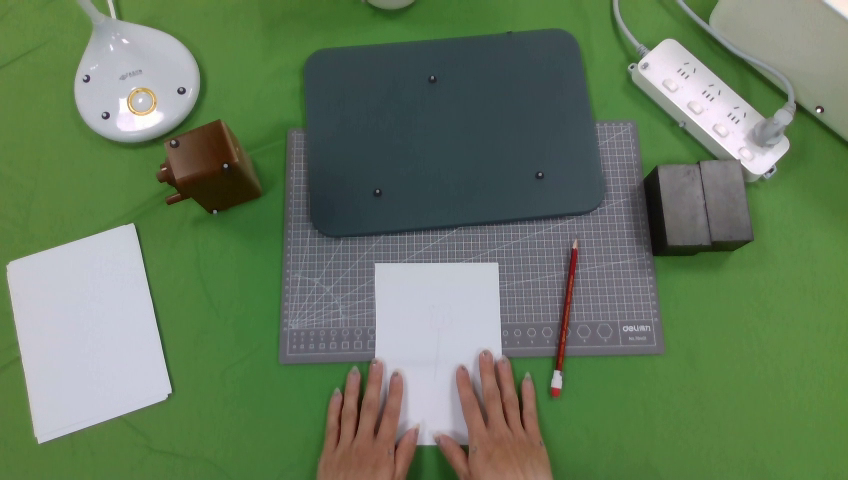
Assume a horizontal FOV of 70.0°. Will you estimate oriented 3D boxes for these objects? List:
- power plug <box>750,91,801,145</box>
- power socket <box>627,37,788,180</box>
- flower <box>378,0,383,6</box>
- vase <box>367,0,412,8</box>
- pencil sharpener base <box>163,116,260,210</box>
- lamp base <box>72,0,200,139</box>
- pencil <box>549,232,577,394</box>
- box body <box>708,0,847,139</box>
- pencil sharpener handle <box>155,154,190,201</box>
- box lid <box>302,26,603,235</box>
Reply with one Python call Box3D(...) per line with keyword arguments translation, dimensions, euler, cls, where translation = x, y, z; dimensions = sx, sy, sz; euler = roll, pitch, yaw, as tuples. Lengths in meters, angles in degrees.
Box3D(translation=(0.433, -0.142, 0.743), dimensions=(0.072, 0.053, 0.035), euler=(-30, 74, -12), cls="power plug")
Box3D(translation=(0.361, -0.169, 0.774), dimensions=(0.072, 0.033, 0.225), euler=(-41, 78, -10), cls="power socket")
Box3D(translation=(-0.037, -0.416, 0.667), dimensions=(0.044, 0.364, 0.038), euler=(-25, 64, -22), cls="flower")
Box3D(translation=(-0.046, -0.380, 0.743), dimensions=(0.098, 0.201, 0.097), euler=(0, 73, -1), cls="vase")
Box3D(translation=(-0.248, -0.086, 0.711), dimensions=(0.077, 0.107, 0.061), euler=(-22, 76, -5), cls="pencil sharpener base")
Box3D(translation=(-0.379, -0.235, 0.713), dimensions=(0.160, 0.181, 0.178), euler=(-32, 75, -8), cls="lamp base")
Box3D(translation=(0.166, 0.083, 0.715), dimensions=(0.012, 0.012, 0.193), euler=(10, 77, 3), cls="pencil")
Box3D(translation=(0.573, -0.273, 0.734), dimensions=(0.362, 0.161, 0.254), euler=(44, 79, 10), cls="box body")
Box3D(translation=(-0.294, -0.067, 0.693), dimensions=(0.030, 0.068, 0.035), euler=(-22, 63, -5), cls="pencil sharpener handle")
Box3D(translation=(0.034, -0.145, 0.777), dimensions=(0.372, 0.015, 0.261), euler=(-6, 75, -1), cls="box lid")
